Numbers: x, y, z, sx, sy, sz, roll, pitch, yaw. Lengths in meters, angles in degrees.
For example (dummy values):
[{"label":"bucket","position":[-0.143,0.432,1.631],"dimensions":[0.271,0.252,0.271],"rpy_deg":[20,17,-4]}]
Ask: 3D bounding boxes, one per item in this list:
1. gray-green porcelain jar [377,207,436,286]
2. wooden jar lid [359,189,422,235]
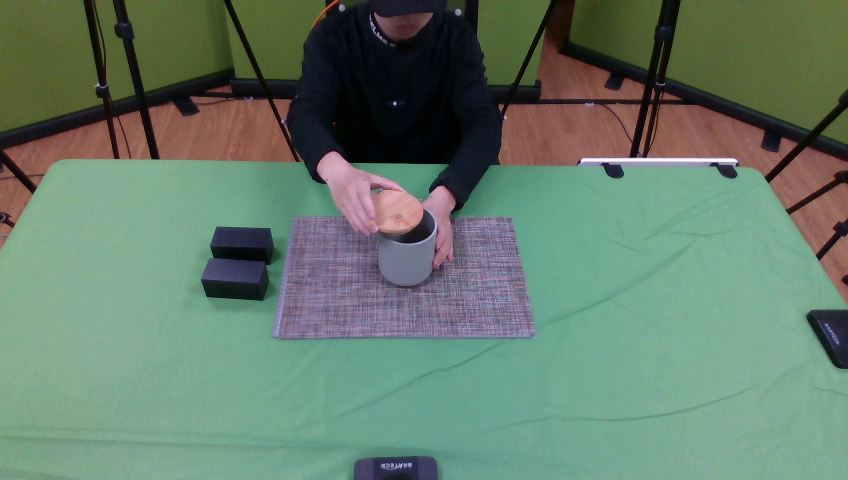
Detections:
[{"label":"gray-green porcelain jar","position":[-0.033,0.014,1.106],"dimensions":[0.106,0.127,0.105],"rpy_deg":[2,46,-2]},{"label":"wooden jar lid","position":[-0.057,-0.046,1.036],"dimensions":[0.108,0.021,0.107],"rpy_deg":[4,42,-4]}]
